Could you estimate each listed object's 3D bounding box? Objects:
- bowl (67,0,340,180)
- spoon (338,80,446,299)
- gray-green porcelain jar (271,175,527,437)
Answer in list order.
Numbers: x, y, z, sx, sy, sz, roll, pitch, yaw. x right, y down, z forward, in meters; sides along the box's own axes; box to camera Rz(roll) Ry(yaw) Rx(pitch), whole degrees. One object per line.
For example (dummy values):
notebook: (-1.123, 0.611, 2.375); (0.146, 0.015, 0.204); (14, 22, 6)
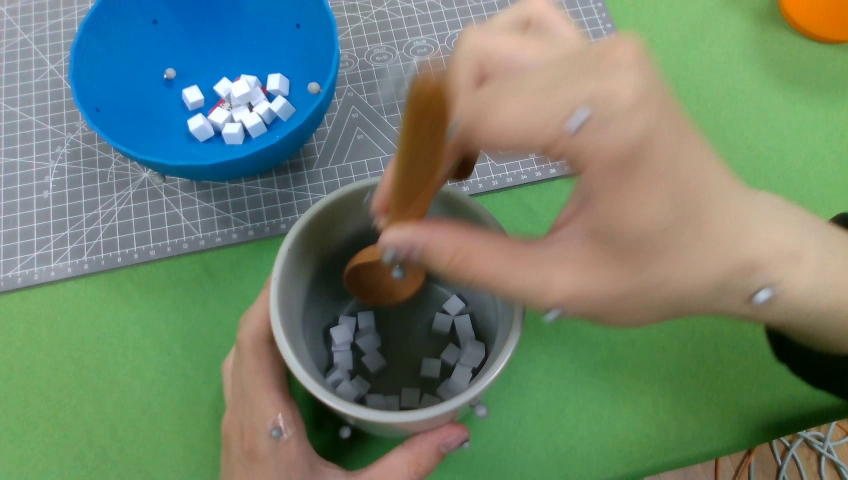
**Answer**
bowl: (-0.123, -0.094, 0.374); (0.151, 0.077, 0.150); (0, 69, -1)
spoon: (-0.011, -0.004, 0.228); (0.042, 0.194, 0.021); (0, 75, -8)
gray-green porcelain jar: (-0.010, 0.042, 0.303); (0.106, 0.127, 0.105); (0, 69, -1)
